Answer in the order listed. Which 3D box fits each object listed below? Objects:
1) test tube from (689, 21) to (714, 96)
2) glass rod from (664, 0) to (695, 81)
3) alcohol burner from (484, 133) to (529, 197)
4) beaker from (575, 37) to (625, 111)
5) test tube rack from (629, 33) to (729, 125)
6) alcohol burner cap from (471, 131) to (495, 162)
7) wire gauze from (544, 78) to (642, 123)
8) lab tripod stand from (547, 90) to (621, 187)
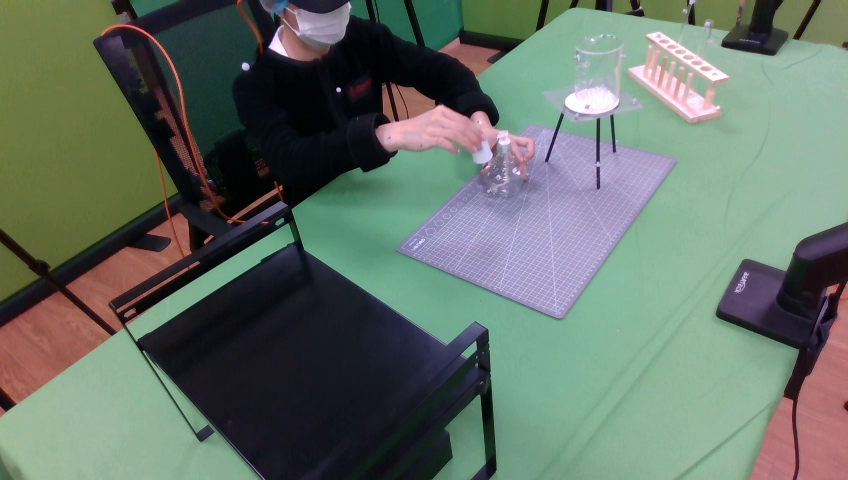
[{"bbox_3d":[0.541,-0.353,1.184,0.017,0.151,0.017,-2,40,2],"label":"test tube"},{"bbox_3d":[0.524,-0.415,1.234,0.008,0.200,0.008,1,46,0],"label":"glass rod"},{"bbox_3d":[0.142,-0.135,1.044,0.078,0.119,0.077,-4,43,4],"label":"alcohol burner"},{"bbox_3d":[0.283,-0.271,0.988,0.074,0.101,0.083,-10,39,1],"label":"beaker"},{"bbox_3d":[0.516,-0.337,1.247,0.067,0.085,0.240,-14,41,-7],"label":"test tube rack"},{"bbox_3d":[0.090,-0.150,0.953,0.034,0.048,0.033,-14,40,12],"label":"alcohol burner cap"},{"bbox_3d":[0.282,-0.234,1.021,0.125,0.011,0.120,-16,38,-4],"label":"wire gauze"},{"bbox_3d":[0.289,-0.184,1.062,0.148,0.132,0.147,-6,41,6],"label":"lab tripod stand"}]
